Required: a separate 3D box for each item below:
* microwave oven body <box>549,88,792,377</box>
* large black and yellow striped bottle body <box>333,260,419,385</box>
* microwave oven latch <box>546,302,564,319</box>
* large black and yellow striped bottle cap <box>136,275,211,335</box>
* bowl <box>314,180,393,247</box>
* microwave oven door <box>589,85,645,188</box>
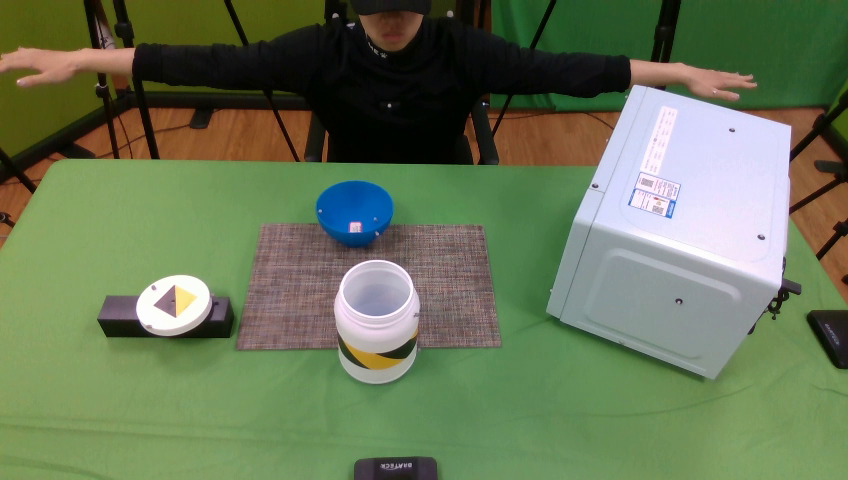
[{"bbox_3d":[0.456,-0.028,1.088,0.325,0.261,0.440,20,47,16],"label":"microwave oven body"},{"bbox_3d":[-0.075,0.129,0.950,0.131,0.185,0.130,2,49,-2],"label":"large black and yellow striped bottle body"},{"bbox_3d":[0.242,0.102,1.081,0.030,0.029,0.079,21,48,17],"label":"microwave oven latch"},{"bbox_3d":[-0.412,0.105,0.999,0.115,0.019,0.114,3,46,-3],"label":"large black and yellow striped bottle cap"},{"bbox_3d":[-0.135,-0.039,1.180,0.151,0.077,0.150,3,46,-2],"label":"bowl"},{"bbox_3d":[0.341,-0.107,1.149,0.039,0.245,0.354,20,48,15],"label":"microwave oven door"}]
